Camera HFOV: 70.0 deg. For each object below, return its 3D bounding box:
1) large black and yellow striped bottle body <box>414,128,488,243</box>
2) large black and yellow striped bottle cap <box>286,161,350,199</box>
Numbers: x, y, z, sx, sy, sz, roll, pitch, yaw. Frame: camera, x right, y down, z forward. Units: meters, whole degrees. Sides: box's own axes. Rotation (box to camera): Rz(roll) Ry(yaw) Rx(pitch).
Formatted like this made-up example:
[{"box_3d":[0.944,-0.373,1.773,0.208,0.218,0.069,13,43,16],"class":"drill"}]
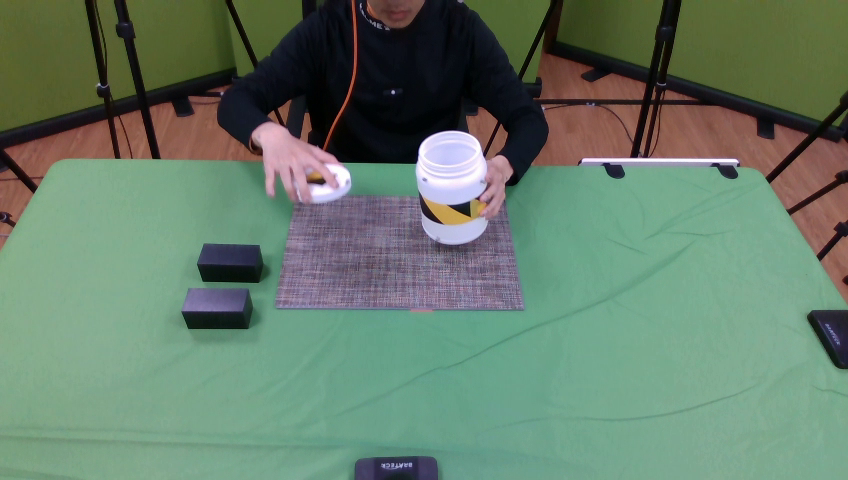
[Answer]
[{"box_3d":[0.051,-0.101,1.125,0.131,0.185,0.130,-4,44,4],"class":"large black and yellow striped bottle body"},{"box_3d":[-0.191,-0.109,1.089,0.115,0.019,0.114,-2,34,1],"class":"large black and yellow striped bottle cap"}]
